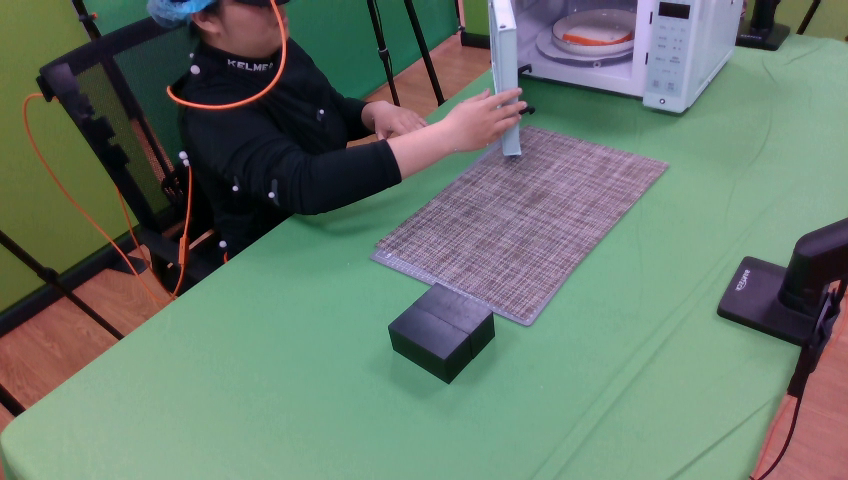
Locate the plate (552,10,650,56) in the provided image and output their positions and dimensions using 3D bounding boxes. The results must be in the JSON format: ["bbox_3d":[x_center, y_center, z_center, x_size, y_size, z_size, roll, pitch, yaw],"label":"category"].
[{"bbox_3d":[0.390,-0.455,1.339,0.209,0.038,0.208,-6,39,5],"label":"plate"}]

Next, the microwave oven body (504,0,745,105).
[{"bbox_3d":[0.416,-0.486,1.290,0.438,0.261,0.327,21,50,33],"label":"microwave oven body"}]

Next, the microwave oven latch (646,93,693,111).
[{"bbox_3d":[0.477,-0.273,1.177,0.078,0.029,0.030,22,50,33],"label":"microwave oven latch"}]

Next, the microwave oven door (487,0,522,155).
[{"bbox_3d":[0.155,-0.364,1.190,0.039,0.245,0.354,-5,40,6],"label":"microwave oven door"}]

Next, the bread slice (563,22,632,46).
[{"bbox_3d":[0.393,-0.453,1.342,0.105,0.019,0.130,-36,44,-27],"label":"bread slice"}]
